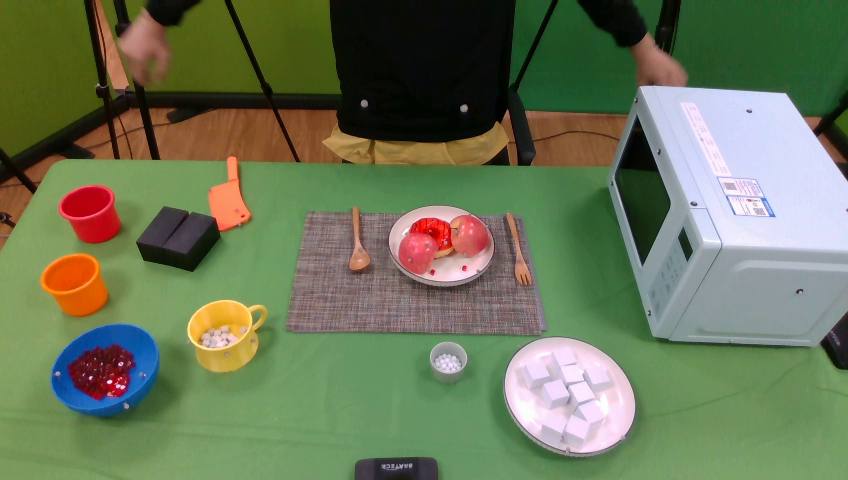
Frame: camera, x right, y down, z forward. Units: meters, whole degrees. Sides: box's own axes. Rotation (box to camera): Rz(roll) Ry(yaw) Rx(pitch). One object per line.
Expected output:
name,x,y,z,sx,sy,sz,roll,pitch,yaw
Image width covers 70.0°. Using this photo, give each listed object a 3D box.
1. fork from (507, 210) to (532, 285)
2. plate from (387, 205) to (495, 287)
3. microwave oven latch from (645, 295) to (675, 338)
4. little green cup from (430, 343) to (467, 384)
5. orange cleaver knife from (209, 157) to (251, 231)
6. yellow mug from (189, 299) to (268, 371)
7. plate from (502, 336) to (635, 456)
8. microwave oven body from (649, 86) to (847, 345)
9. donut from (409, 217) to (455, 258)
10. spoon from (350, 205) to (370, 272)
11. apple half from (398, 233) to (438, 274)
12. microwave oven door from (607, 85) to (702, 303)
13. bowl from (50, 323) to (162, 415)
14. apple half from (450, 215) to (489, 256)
fork,0.185,0.012,1.197,0.028,0.019,0.206,-5,48,0
plate,0.033,0.014,1.171,0.209,0.038,0.208,2,46,-2
microwave oven latch,0.412,0.134,1.061,0.030,0.029,0.078,3,45,0
little green cup,0.039,0.203,0.994,0.061,0.039,0.061,2,46,-2
orange cleaver knife,-0.409,-0.099,1.266,0.077,0.012,0.210,-14,50,-10
yellow mug,-0.316,0.148,1.002,0.131,0.064,0.099,-33,56,-31
plate,0.225,0.248,0.964,0.208,0.039,0.206,2,46,-2
microwave oven body,0.568,-0.053,1.118,0.326,0.261,0.439,2,45,-1
donut,0.019,-0.006,1.174,0.099,0.048,0.098,3,43,-2
spoon,-0.130,-0.007,1.190,0.041,0.022,0.192,-19,47,9
apple half,-0.016,0.022,1.123,0.081,0.033,0.081,-2,83,14
microwave oven door,0.423,-0.094,1.141,0.039,0.245,0.353,2,46,-1
bowl,-0.472,0.209,0.924,0.151,0.077,0.150,3,45,-2
apple half,0.092,-0.013,1.158,0.075,0.053,0.080,34,39,-28
